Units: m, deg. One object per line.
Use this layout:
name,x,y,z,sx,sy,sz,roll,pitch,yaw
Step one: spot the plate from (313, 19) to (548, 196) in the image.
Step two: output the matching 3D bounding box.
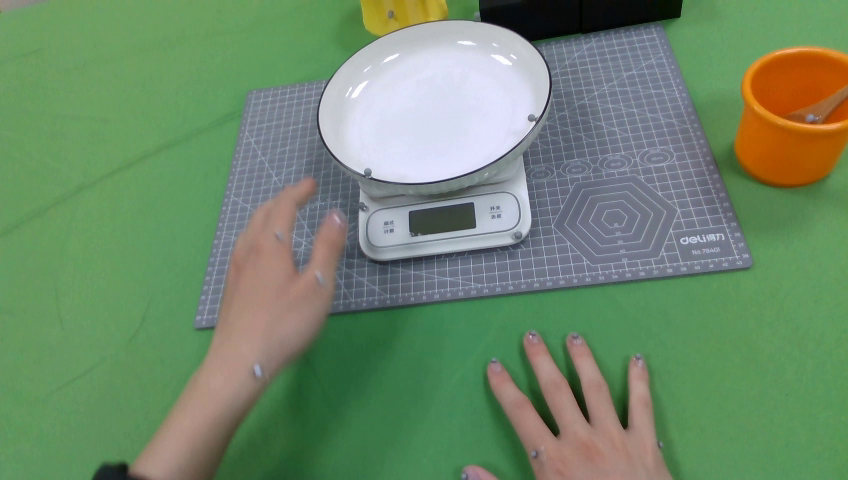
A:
plate,0.006,-0.118,0.541,0.209,0.038,0.207,-5,55,8

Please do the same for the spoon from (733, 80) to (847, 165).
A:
spoon,0.318,-0.115,0.439,0.022,0.194,0.041,16,52,-30

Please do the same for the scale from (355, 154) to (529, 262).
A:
scale,0.012,-0.076,0.551,0.148,0.032,0.199,-7,55,8

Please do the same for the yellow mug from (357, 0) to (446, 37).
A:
yellow mug,-0.023,-0.282,0.687,0.100,0.064,0.129,-43,58,-17
